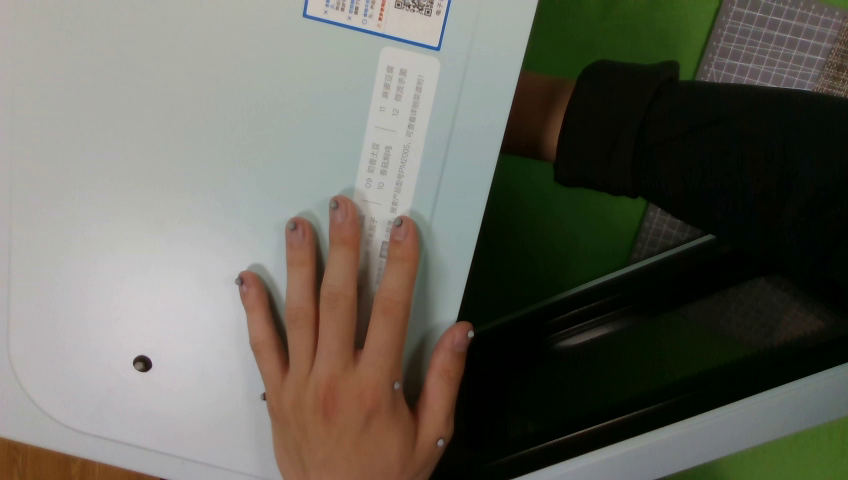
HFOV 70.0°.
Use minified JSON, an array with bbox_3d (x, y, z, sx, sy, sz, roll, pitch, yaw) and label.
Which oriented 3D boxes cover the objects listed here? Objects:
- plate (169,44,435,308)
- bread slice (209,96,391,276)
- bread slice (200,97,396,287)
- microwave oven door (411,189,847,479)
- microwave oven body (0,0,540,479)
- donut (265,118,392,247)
[{"bbox_3d":[-0.094,-0.048,0.487,0.208,0.039,0.208,0,107,1],"label":"plate"},{"bbox_3d":[-0.109,-0.046,0.486,0.132,0.019,0.105,43,106,-7],"label":"bread slice"},{"bbox_3d":[-0.094,-0.038,0.425,0.134,0.018,0.107,22,111,9],"label":"bread slice"},{"bbox_3d":[0.159,0.074,0.442,0.355,0.243,0.039,-24,102,11],"label":"microwave oven door"},{"bbox_3d":[-0.088,-0.094,0.420,0.326,0.259,0.443,13,107,1],"label":"microwave oven body"},{"bbox_3d":[-0.073,-0.043,0.462,0.099,0.048,0.099,0,104,1],"label":"donut"}]
